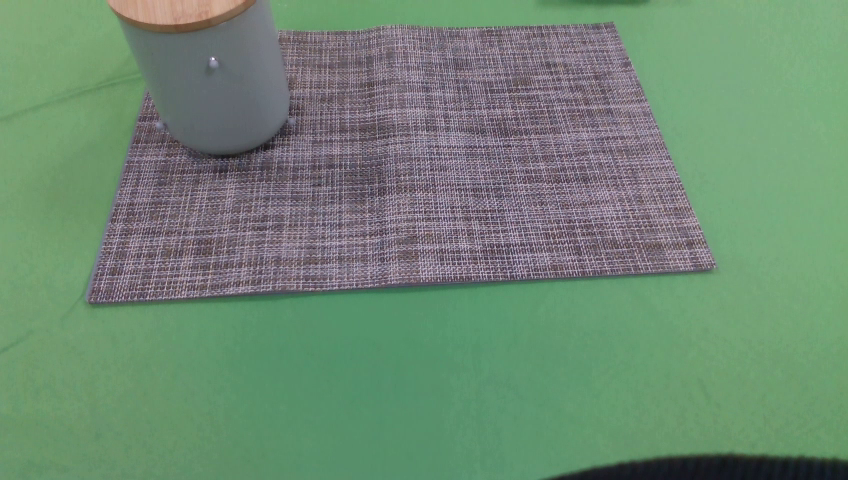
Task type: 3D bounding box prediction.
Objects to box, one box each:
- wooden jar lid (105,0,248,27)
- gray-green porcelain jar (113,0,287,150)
[{"bbox_3d":[-0.165,-0.179,0.419,0.108,0.021,0.107,0,57,0],"label":"wooden jar lid"},{"bbox_3d":[-0.165,-0.142,0.469,0.106,0.127,0.105,1,55,-1],"label":"gray-green porcelain jar"}]
